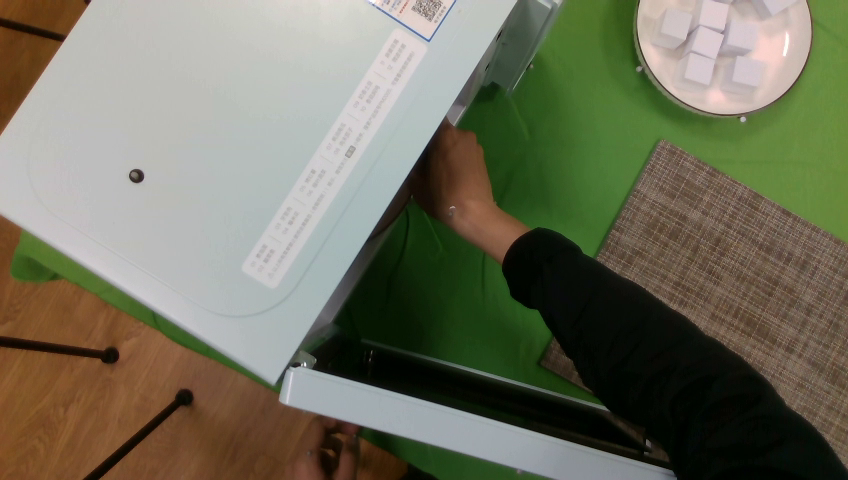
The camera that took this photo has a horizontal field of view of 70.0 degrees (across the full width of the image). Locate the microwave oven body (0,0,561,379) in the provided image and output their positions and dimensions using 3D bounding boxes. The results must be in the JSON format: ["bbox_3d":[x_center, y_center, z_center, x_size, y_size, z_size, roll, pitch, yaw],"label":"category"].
[{"bbox_3d":[-0.113,-0.148,0.573,0.326,0.260,0.441,32,88,-1],"label":"microwave oven body"}]

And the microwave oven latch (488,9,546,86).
[{"bbox_3d":[0.104,-0.214,0.679,0.030,0.029,0.079,36,88,-1],"label":"microwave oven latch"}]

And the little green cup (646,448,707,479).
[{"bbox_3d":[0.283,0.267,0.688,0.061,0.038,0.061,0,85,-2],"label":"little green cup"}]

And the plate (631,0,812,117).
[{"bbox_3d":[0.341,-0.244,0.708,0.208,0.039,0.207,0,88,-2],"label":"plate"}]

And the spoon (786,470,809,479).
[{"bbox_3d":[0.436,0.358,0.696,0.042,0.021,0.193,-8,89,-21],"label":"spoon"}]

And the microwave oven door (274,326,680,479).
[{"bbox_3d":[0.059,0.156,0.564,0.356,0.244,0.039,16,86,-1],"label":"microwave oven door"}]

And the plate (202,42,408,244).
[{"bbox_3d":[-0.120,-0.098,0.626,0.209,0.038,0.208,0,85,-2],"label":"plate"}]

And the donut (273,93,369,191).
[{"bbox_3d":[-0.104,-0.098,0.609,0.099,0.048,0.099,0,92,8],"label":"donut"}]
